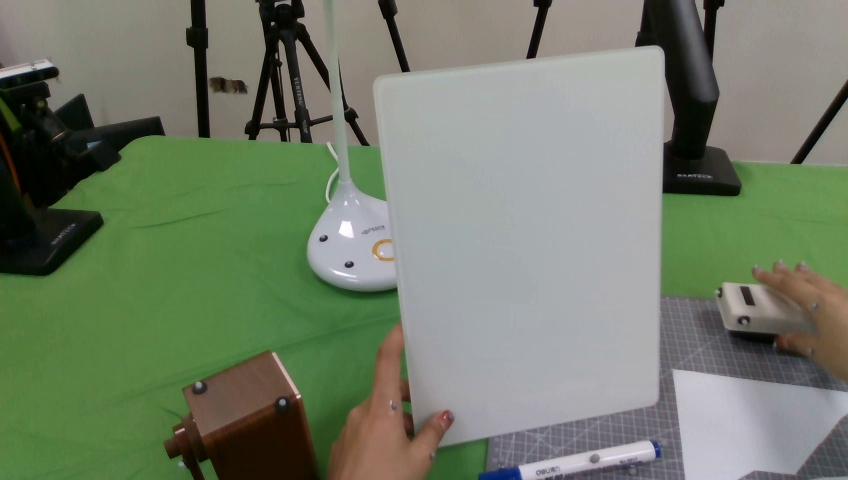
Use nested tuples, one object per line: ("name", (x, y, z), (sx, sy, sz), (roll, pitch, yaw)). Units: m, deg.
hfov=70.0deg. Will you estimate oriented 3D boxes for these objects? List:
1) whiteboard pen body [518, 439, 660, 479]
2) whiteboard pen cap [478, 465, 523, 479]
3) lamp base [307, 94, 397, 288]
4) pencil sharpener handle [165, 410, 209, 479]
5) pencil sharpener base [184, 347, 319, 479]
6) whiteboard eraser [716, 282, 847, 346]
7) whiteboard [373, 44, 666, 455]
("whiteboard pen body", (0.117, 0.175, 0.474), (0.141, 0.017, 0.017), (-8, 36, -7))
("whiteboard pen cap", (0.059, 0.184, 0.466), (0.033, 0.018, 0.018), (-8, 36, -9))
("lamp base", (-0.070, -0.064, 0.685), (0.161, 0.182, 0.177), (-26, 40, -29))
("pencil sharpener handle", (-0.172, 0.156, 0.427), (0.031, 0.068, 0.035), (-22, 27, -24))
("pencil sharpener base", (-0.130, 0.148, 0.458), (0.077, 0.108, 0.060), (-22, 41, -24))
("whiteboard eraser", (0.349, 0.073, 0.590), (0.112, 0.042, 0.055), (5, 38, 10))
("whiteboard", (0.076, -0.001, 0.535), (0.217, 0.307, 0.143), (-8, 17, -7))
